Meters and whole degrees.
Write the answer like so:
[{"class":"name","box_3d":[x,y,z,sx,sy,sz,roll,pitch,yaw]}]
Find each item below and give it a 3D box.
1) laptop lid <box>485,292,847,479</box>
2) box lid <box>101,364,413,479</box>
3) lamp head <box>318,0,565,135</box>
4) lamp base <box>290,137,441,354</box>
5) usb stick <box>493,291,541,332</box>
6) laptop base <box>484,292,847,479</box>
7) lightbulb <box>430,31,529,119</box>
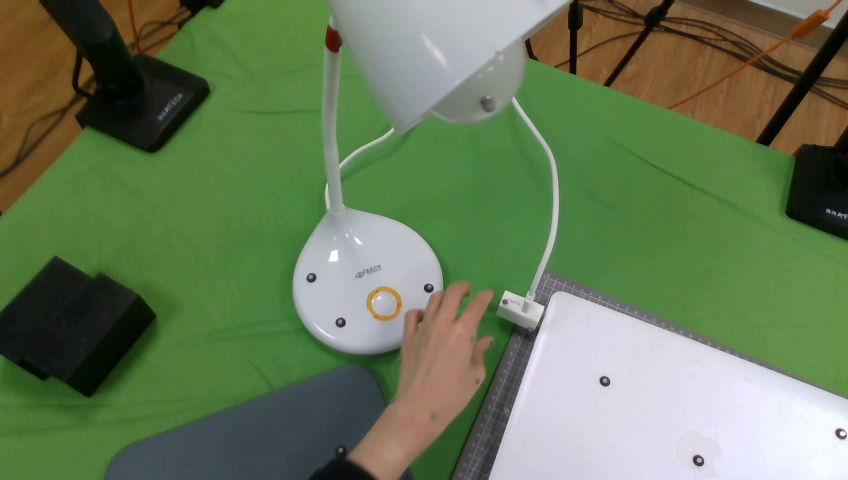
[{"class":"laptop lid","box_3d":[0.252,0.206,0.565,0.356,0.013,0.240,22,64,9]},{"class":"box lid","box_3d":[-0.111,0.304,0.507,0.264,0.015,0.368,-19,64,-13]},{"class":"lamp head","box_3d":[-0.008,-0.131,0.313,0.112,0.112,0.123,-42,94,-23]},{"class":"lamp base","box_3d":[-0.067,-0.002,0.585,0.160,0.181,0.177,-32,64,-19]},{"class":"usb stick","box_3d":[0.103,0.077,0.629,0.059,0.027,0.021,25,56,7]},{"class":"laptop base","box_3d":[0.252,0.210,0.576,0.353,0.023,0.234,21,65,8]},{"class":"lightbulb","box_3d":[0.019,-0.116,0.307,0.059,0.059,0.108,-15,101,-11]}]
